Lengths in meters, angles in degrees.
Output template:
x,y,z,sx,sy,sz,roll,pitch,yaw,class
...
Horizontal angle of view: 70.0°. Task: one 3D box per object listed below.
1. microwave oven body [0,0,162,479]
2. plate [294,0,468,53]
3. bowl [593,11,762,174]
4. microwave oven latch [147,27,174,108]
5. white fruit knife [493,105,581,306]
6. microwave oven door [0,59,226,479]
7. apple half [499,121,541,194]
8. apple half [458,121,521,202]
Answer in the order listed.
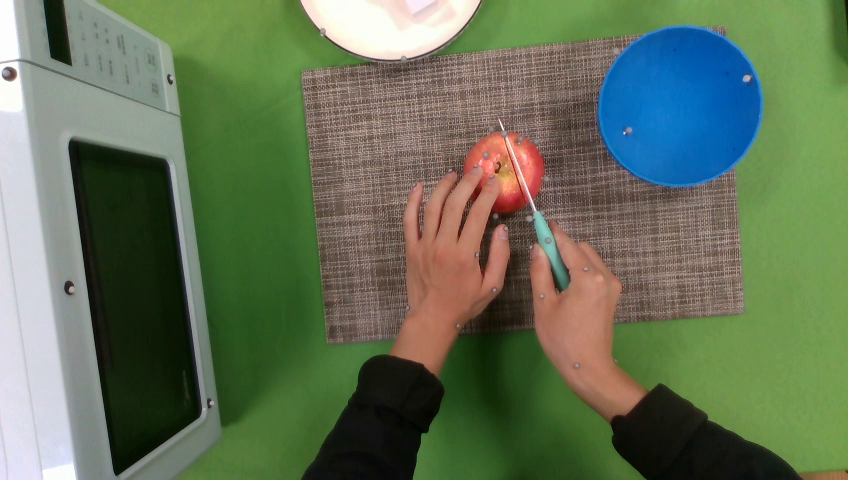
x,y,z,sx,sy,sz,roll,pitch,yaw,class
-0.417,0.019,0.560,0.326,0.260,0.442,-7,94,4,microwave oven body
-0.043,-0.297,0.630,0.207,0.039,0.207,0,94,4,plate
0.236,-0.137,0.597,0.151,0.077,0.151,0,94,4,bowl
-0.285,-0.179,0.636,0.030,0.029,0.079,-7,94,4,microwave oven latch
0.105,-0.029,0.571,0.016,0.027,0.208,-23,97,5,white fruit knife
-0.267,0.043,0.547,0.039,0.244,0.356,-8,93,5,microwave oven door
0.100,-0.087,0.612,0.033,0.081,0.081,-20,92,9,apple half
0.062,-0.074,0.616,0.053,0.074,0.081,-18,96,10,apple half
